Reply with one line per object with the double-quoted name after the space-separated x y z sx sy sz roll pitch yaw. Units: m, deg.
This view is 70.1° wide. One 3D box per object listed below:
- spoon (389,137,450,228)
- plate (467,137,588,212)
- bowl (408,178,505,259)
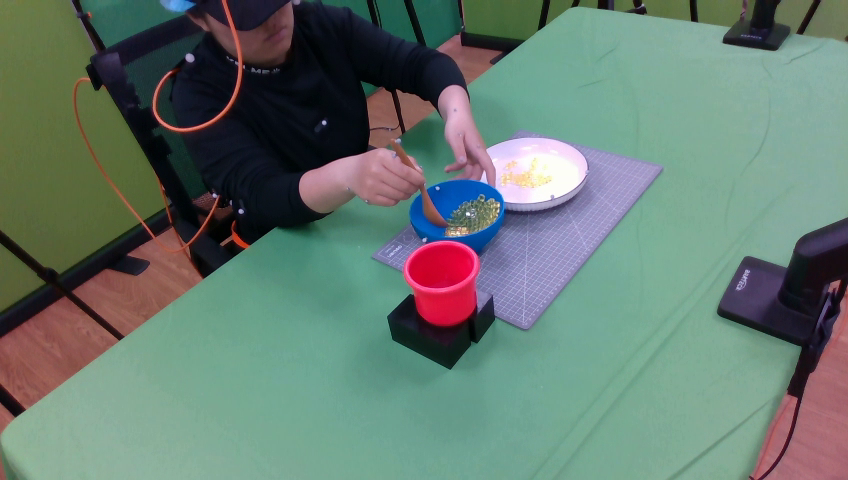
-0.007 -0.077 0.852 0.041 0.195 0.021 23 64 39 "spoon"
0.181 -0.112 1.064 0.207 0.039 0.206 -5 40 5 "plate"
0.055 -0.023 0.951 0.151 0.077 0.150 -5 40 5 "bowl"
